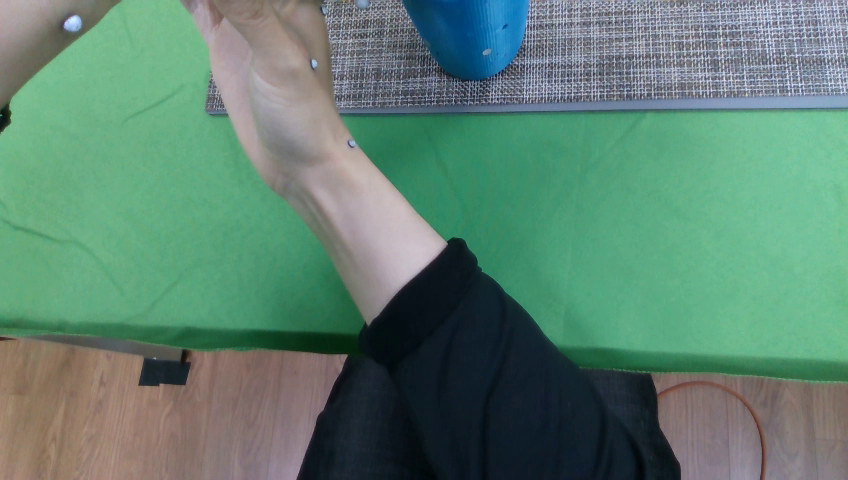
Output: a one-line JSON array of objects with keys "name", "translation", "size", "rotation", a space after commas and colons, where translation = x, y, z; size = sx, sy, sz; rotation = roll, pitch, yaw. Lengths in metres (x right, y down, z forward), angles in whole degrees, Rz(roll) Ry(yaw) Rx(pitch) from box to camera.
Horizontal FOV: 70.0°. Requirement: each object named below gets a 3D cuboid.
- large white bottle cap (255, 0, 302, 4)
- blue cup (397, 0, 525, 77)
[{"name": "large white bottle cap", "translation": [-0.105, -0.233, 0.459], "size": [0.114, 0.018, 0.114], "rotation": [-2, 75, 8]}, {"name": "blue cup", "translation": [0.024, -0.152, 0.371], "size": [0.092, 0.101, 0.092], "rotation": [-3, 73, 11]}]
